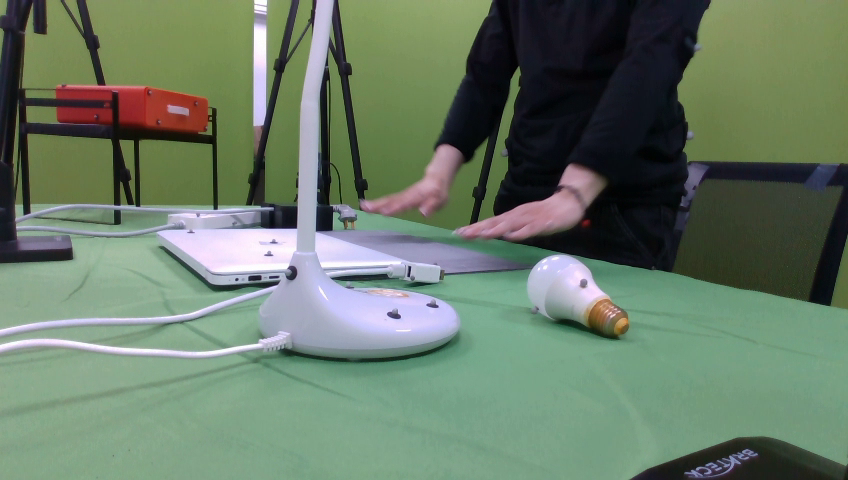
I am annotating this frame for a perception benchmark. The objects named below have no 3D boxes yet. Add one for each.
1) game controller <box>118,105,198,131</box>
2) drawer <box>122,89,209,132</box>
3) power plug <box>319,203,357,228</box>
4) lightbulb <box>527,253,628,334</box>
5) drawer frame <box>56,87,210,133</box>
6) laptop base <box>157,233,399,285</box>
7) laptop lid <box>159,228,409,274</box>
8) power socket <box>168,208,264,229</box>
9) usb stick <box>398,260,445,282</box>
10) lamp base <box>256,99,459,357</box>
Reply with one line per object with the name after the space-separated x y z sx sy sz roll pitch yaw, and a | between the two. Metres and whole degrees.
-0.554 -0.253 1.254 0.097 0.051 0.155 6 11 19 | game controller
-0.595 -0.268 1.263 0.211 0.073 0.195 4 8 15 | drawer
-0.170 -0.046 1.210 0.073 0.052 0.035 -6 -17 -8 | power plug
0.137 0.050 0.535 0.060 0.059 0.107 -3 24 -33 | lightbulb
-0.598 -0.269 1.261 0.213 0.082 0.202 4 8 14 | drawer frame
-0.204 0.019 0.806 0.237 0.023 0.352 0 7 -33 | laptop base
-0.201 0.007 0.806 0.243 0.013 0.355 -1 8 -31 | laptop lid
-0.381 -0.038 1.128 0.072 0.032 0.227 4 8 16 | power socket
0.000 0.036 0.696 0.027 0.021 0.059 6 -1 43 | usb stick
-0.055 -0.013 0.463 0.160 0.180 0.180 6 11 27 | lamp base
